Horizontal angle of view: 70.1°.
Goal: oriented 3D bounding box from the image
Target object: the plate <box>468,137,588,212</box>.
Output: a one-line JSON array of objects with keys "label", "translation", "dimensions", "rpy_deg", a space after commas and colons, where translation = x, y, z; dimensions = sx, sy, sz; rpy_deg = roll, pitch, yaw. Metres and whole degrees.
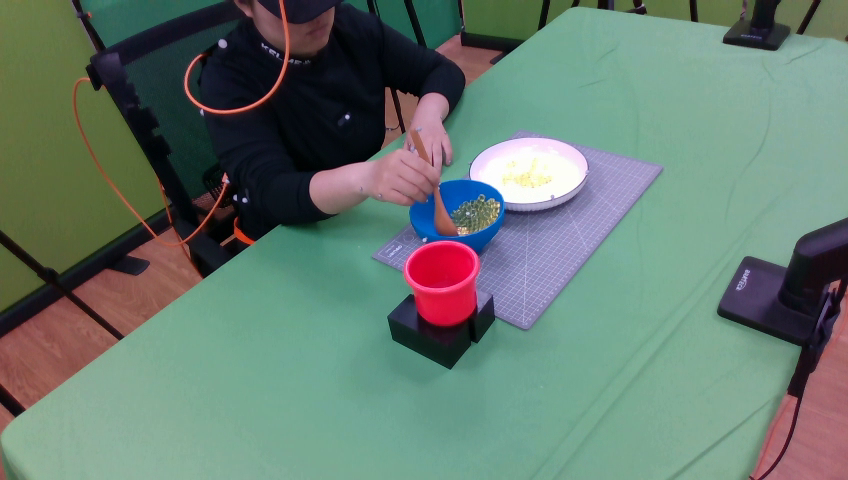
[{"label": "plate", "translation": [0.182, -0.112, 1.064], "dimensions": [0.207, 0.039, 0.206], "rpy_deg": [-5, 40, 5]}]

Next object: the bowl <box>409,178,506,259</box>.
[{"label": "bowl", "translation": [0.055, -0.023, 0.951], "dimensions": [0.151, 0.077, 0.150], "rpy_deg": [-5, 40, 5]}]

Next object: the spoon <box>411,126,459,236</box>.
[{"label": "spoon", "translation": [0.013, -0.074, 0.864], "dimensions": [0.041, 0.194, 0.022], "rpy_deg": [7, 36, 39]}]
